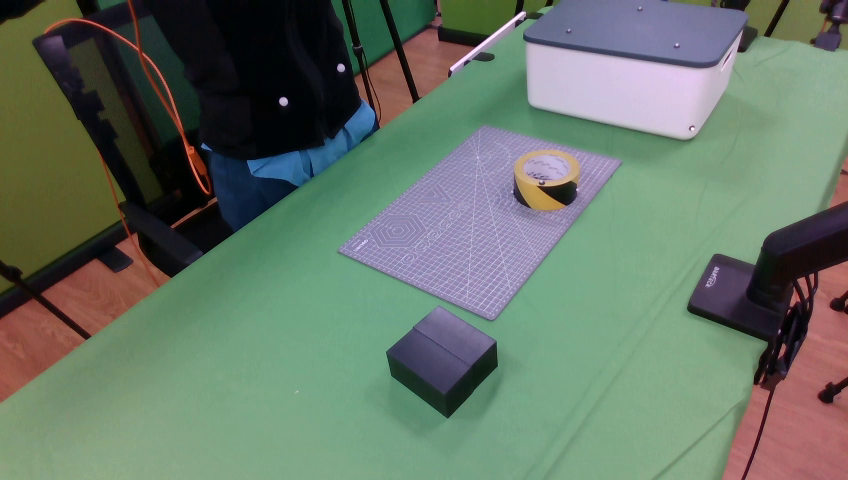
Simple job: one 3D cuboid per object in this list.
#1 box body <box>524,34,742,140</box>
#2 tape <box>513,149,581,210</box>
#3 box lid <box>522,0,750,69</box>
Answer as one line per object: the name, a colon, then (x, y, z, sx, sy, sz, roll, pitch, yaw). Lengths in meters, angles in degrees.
box body: (0.412, -0.354, 1.212, 0.361, 0.161, 0.254, 20, 48, 29)
tape: (0.208, -0.104, 1.032, 0.117, 0.053, 0.116, -4, 40, 4)
box lid: (0.405, -0.409, 1.162, 0.368, 0.015, 0.264, 20, 47, 29)
